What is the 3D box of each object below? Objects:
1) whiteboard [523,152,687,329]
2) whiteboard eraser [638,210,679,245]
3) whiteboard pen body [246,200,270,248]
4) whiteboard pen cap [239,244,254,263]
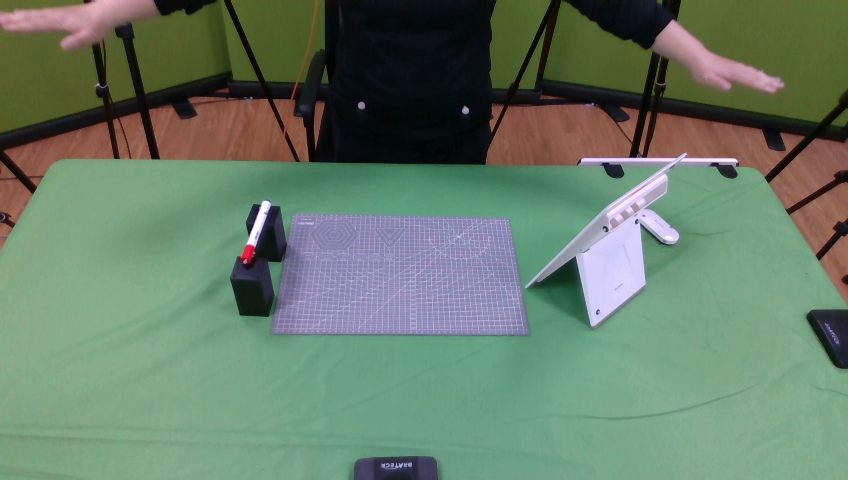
[{"bbox_3d":[0.346,0.024,1.047,0.217,0.306,0.143,-30,74,-29],"label":"whiteboard"},{"bbox_3d":[0.485,-0.027,1.260,0.041,0.019,0.100,-21,50,-21],"label":"whiteboard eraser"},{"bbox_3d":[-0.293,-0.020,1.059,0.017,0.017,0.139,5,46,0],"label":"whiteboard pen body"},{"bbox_3d":[-0.298,0.022,1.016,0.017,0.017,0.032,6,45,2],"label":"whiteboard pen cap"}]
